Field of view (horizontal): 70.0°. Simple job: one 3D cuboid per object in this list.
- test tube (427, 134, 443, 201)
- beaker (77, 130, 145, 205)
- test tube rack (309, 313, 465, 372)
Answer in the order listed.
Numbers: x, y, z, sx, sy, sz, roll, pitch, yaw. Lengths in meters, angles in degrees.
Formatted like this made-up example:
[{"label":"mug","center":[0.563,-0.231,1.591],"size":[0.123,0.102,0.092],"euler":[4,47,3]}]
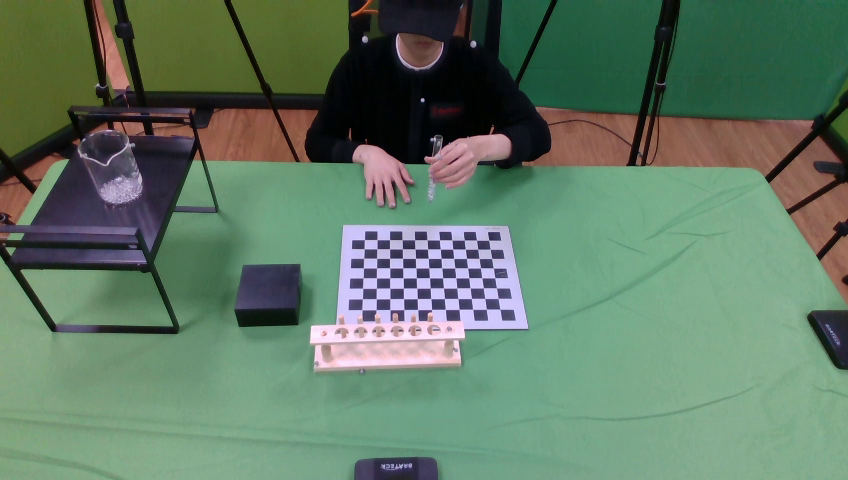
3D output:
[{"label":"test tube","center":[0.020,-0.133,1.133],"size":[0.017,0.151,0.017],"euler":[4,44,-3]},{"label":"beaker","center":[-0.493,-0.111,0.965],"size":[0.074,0.101,0.083],"euler":[-14,49,-16]},{"label":"test tube rack","center":[-0.059,0.161,0.990],"size":[0.242,0.085,0.066],"euler":[-1,46,-5]}]
